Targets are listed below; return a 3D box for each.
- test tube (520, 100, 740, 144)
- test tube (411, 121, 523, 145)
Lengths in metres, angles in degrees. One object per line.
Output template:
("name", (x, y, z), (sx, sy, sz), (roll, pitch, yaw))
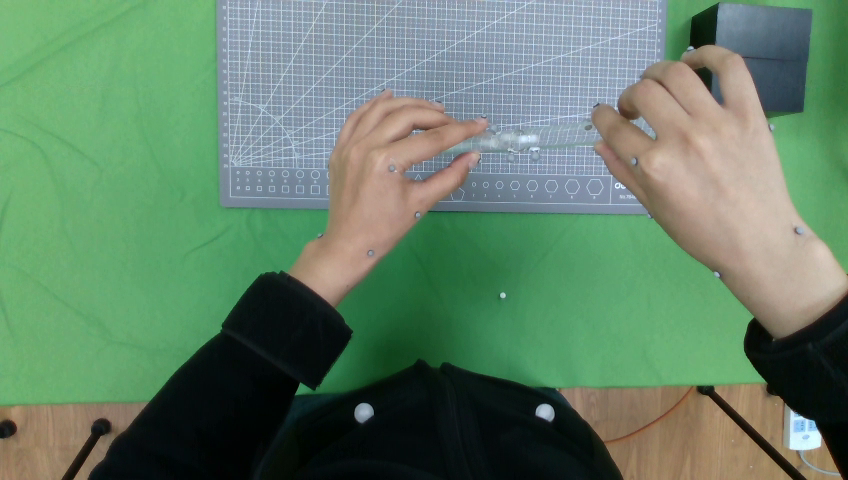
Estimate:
("test tube", (0.140, -0.081, 0.413), (0.150, 0.017, 0.017), (-6, 96, 0))
("test tube", (0.029, -0.084, 0.480), (0.017, 0.149, 0.017), (-5, 100, -28))
